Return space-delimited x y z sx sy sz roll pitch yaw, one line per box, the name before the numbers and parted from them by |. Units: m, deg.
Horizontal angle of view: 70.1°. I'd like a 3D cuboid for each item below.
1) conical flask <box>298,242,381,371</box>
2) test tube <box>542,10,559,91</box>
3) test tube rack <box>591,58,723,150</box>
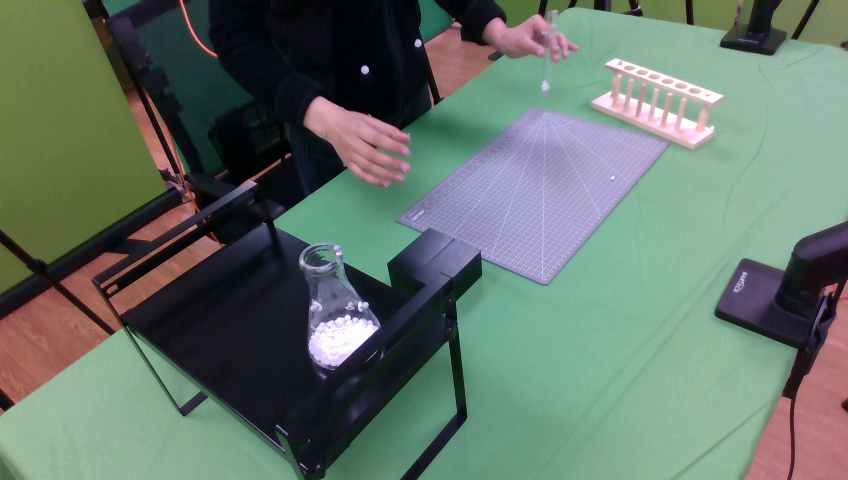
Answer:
conical flask | -0.085 0.059 0.565 0.075 0.122 0.075 -4 41 4
test tube | 0.221 -0.328 1.058 0.017 0.151 0.017 -2 46 2
test tube rack | 0.442 -0.269 1.171 0.067 0.085 0.240 -30 46 -24
